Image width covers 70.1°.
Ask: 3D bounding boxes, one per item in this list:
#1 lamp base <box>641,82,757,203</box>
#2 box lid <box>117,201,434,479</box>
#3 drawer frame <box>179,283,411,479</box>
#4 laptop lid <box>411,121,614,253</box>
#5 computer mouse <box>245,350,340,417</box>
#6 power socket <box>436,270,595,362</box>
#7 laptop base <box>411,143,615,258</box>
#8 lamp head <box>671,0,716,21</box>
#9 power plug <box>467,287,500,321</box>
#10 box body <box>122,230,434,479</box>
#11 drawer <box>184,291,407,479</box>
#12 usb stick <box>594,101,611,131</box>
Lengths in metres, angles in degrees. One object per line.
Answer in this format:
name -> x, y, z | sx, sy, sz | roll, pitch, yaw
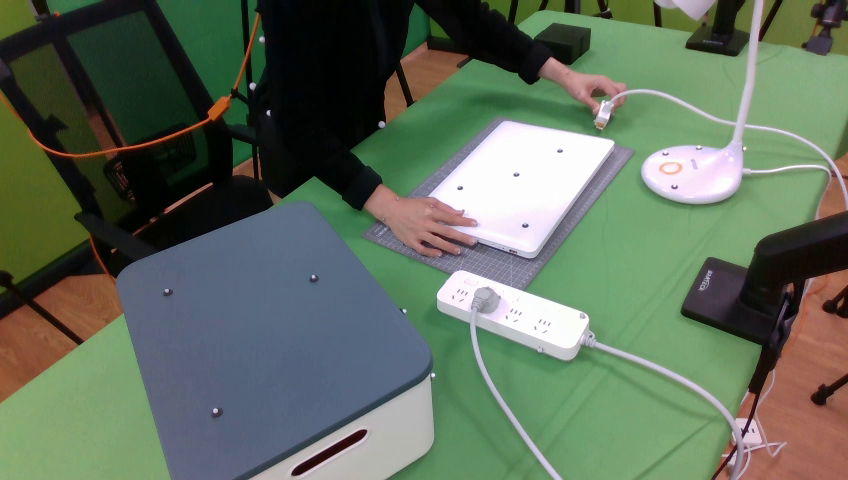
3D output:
lamp base -> 0.463, -0.174, 0.993 | 0.179, 0.181, 0.159 | -5, 41, -1
box lid -> -0.182, 0.087, 0.675 | 0.264, 0.015, 0.368 | -25, 42, -20
drawer frame -> -0.155, 0.179, 0.727 | 0.202, 0.083, 0.211 | -28, 49, -20
laptop lid -> 0.164, -0.112, 1.069 | 0.240, 0.013, 0.357 | 19, 46, 31
computer mouse -> -0.164, 0.173, 0.754 | 0.118, 0.041, 0.062 | -18, 33, -18
power socket -> 0.118, 0.101, 0.832 | 0.225, 0.033, 0.072 | 19, 48, 27
laptop base -> 0.167, -0.103, 1.074 | 0.234, 0.023, 0.355 | 16, 45, 30
lamp head -> 0.375, -0.373, 0.807 | 0.122, 0.113, 0.112 | -40, 27, 32
power plug -> 0.073, 0.092, 0.814 | 0.035, 0.053, 0.073 | 29, 54, 34
box body -> -0.175, 0.142, 0.725 | 0.255, 0.161, 0.360 | -25, 43, -20
drawer -> -0.155, 0.180, 0.720 | 0.195, 0.073, 0.210 | -27, 40, -21
usb stick -> 0.348, -0.240, 1.182 | 0.021, 0.027, 0.059 | 19, 65, -1
